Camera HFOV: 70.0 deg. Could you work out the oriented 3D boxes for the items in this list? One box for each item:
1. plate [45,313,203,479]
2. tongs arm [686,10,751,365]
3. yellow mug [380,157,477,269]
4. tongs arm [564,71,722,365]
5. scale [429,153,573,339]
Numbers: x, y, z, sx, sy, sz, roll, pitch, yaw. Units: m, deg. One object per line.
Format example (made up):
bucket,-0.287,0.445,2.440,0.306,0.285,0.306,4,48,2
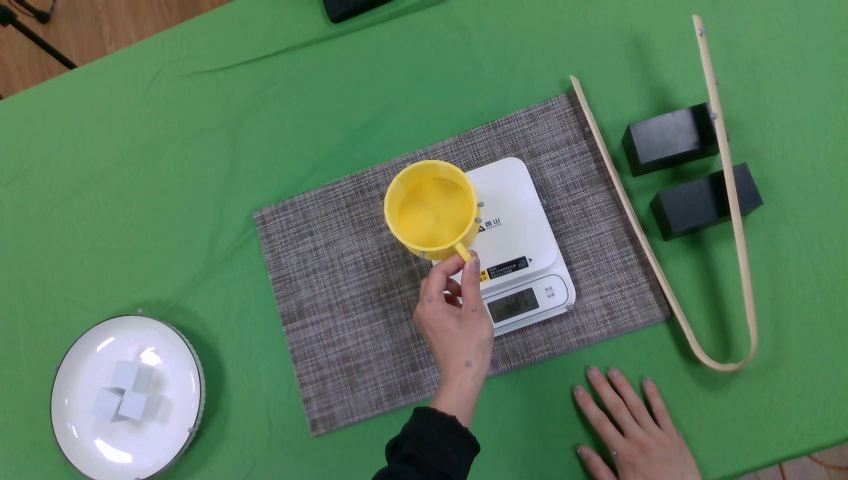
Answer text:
plate,-0.374,0.198,0.768,0.207,0.039,0.206,-2,79,9
tongs arm,0.310,-0.058,0.663,0.050,0.027,0.383,-14,83,34
yellow mug,0.016,-0.022,0.661,0.100,0.064,0.130,-36,79,1
tongs arm,0.247,-0.035,0.710,0.028,0.028,0.385,-28,75,28
scale,0.078,0.005,0.728,0.148,0.032,0.200,-20,77,6
